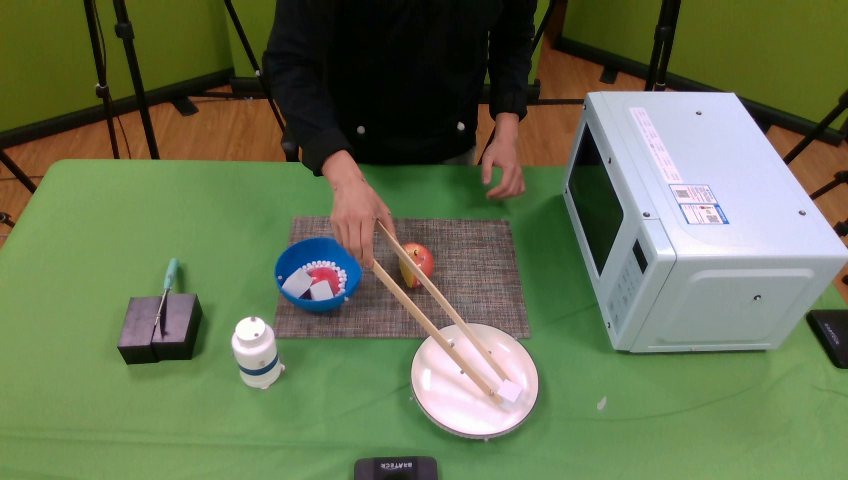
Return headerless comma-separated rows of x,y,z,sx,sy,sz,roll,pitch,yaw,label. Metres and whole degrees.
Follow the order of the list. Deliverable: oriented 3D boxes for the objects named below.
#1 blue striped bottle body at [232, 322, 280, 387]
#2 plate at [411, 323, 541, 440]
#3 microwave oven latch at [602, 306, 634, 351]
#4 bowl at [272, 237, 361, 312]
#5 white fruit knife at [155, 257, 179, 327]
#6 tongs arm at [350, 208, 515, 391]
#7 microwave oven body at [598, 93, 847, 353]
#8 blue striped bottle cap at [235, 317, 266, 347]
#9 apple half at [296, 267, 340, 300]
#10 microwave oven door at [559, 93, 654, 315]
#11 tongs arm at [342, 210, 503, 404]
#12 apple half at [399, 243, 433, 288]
-0.262,0.171,0.944,0.063,0.121,0.062,2,46,-2,blue striped bottle body
0.082,0.228,0.976,0.208,0.039,0.206,2,45,-2,plate
0.332,0.153,1.044,0.030,0.029,0.078,-1,45,-4,microwave oven latch
-0.186,0.074,1.069,0.151,0.077,0.150,2,46,-2,bowl
-0.440,0.085,1.037,0.016,0.027,0.206,10,26,-19,white fruit knife
0.013,0.093,0.983,0.028,0.028,0.387,-37,82,-27,tongs arm
0.475,-0.041,1.109,0.326,0.261,0.438,-1,45,-4,microwave oven body
-0.260,0.137,0.907,0.044,0.021,0.044,2,43,-2,blue striped bottle cap
-0.187,0.071,1.067,0.081,0.033,0.081,3,46,-2,apple half
0.327,-0.074,1.123,0.039,0.245,0.353,-1,46,-5,microwave oven door
-0.003,0.105,0.971,0.384,0.026,0.050,46,58,5,tongs arm
-0.011,0.046,1.115,0.053,0.075,0.080,-11,44,-19,apple half
